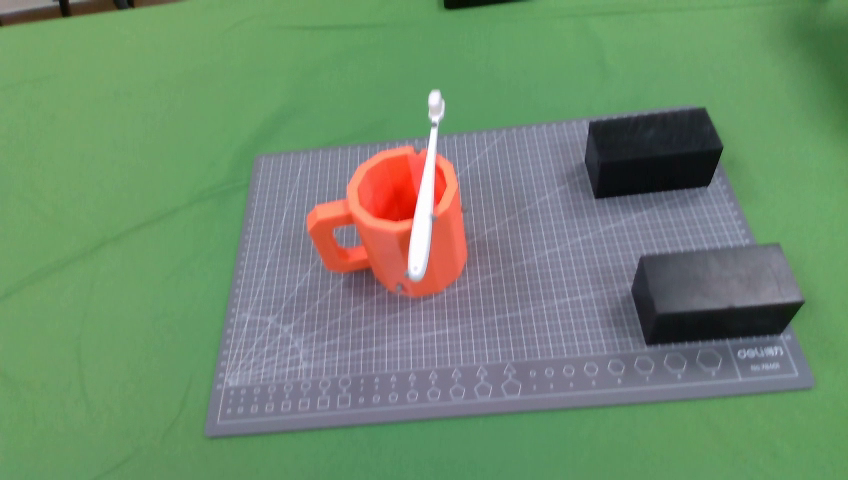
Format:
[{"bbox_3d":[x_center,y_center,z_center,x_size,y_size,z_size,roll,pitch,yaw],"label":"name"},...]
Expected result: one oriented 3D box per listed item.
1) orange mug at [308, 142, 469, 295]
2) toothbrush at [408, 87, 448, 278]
[{"bbox_3d":[-0.027,-0.013,0.496,0.126,0.102,0.082,-10,54,-3],"label":"orange mug"},{"bbox_3d":[0.004,-0.050,0.453,0.014,0.017,0.180,3,55,6],"label":"toothbrush"}]
